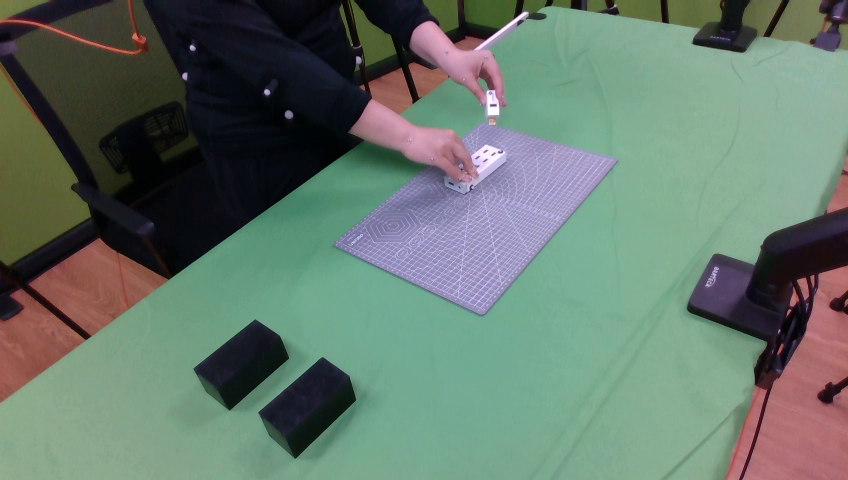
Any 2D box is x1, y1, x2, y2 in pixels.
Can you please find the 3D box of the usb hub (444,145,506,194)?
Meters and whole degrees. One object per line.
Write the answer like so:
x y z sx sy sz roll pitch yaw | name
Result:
0.095 -0.129 1.102 0.049 0.025 0.125 28 52 33 | usb hub

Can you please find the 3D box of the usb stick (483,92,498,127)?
0.118 -0.230 1.068 0.021 0.059 0.027 -2 0 -9 | usb stick
